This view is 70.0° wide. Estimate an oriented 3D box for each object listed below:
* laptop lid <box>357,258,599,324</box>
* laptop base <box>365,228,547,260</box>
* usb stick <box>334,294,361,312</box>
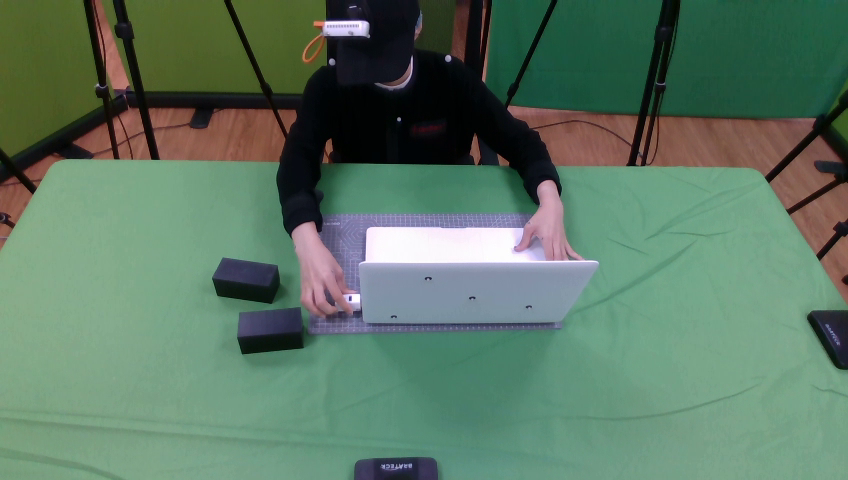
[{"bbox_3d":[0.075,0.087,0.959,0.357,0.242,0.013,1,60,-5],"label":"laptop lid"},{"bbox_3d":[0.065,0.062,1.145,0.355,0.023,0.234,0,43,-4],"label":"laptop base"},{"bbox_3d":[-0.128,0.111,1.065,0.059,0.027,0.021,0,41,-6],"label":"usb stick"}]
